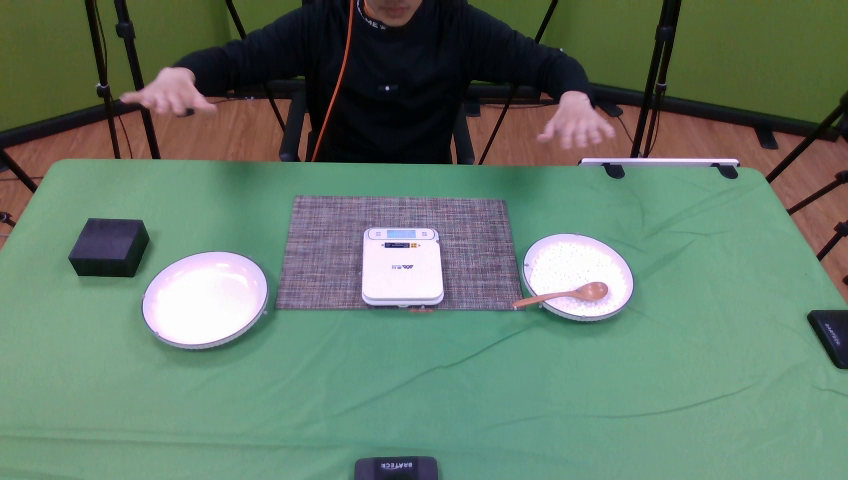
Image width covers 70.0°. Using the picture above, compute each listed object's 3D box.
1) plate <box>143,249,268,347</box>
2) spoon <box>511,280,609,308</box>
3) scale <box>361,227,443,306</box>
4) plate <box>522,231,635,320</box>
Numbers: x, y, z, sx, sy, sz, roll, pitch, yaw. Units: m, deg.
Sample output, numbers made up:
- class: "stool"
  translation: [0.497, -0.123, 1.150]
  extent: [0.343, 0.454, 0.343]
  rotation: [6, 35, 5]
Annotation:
- class: "plate"
  translation: [-0.378, 0.103, 1.060]
  extent: [0.208, 0.039, 0.206]
  rotation: [2, 47, -2]
- class: "spoon"
  translation: [0.245, 0.098, 1.088]
  extent: [0.194, 0.022, 0.041]
  rotation: [-5, 47, -19]
- class: "scale"
  translation: [-0.042, 0.040, 1.143]
  extent: [0.149, 0.032, 0.199]
  rotation: [0, 46, -4]
- class: "plate"
  translation: [0.287, 0.069, 1.141]
  extent: [0.209, 0.038, 0.208]
  rotation: [2, 46, -2]
